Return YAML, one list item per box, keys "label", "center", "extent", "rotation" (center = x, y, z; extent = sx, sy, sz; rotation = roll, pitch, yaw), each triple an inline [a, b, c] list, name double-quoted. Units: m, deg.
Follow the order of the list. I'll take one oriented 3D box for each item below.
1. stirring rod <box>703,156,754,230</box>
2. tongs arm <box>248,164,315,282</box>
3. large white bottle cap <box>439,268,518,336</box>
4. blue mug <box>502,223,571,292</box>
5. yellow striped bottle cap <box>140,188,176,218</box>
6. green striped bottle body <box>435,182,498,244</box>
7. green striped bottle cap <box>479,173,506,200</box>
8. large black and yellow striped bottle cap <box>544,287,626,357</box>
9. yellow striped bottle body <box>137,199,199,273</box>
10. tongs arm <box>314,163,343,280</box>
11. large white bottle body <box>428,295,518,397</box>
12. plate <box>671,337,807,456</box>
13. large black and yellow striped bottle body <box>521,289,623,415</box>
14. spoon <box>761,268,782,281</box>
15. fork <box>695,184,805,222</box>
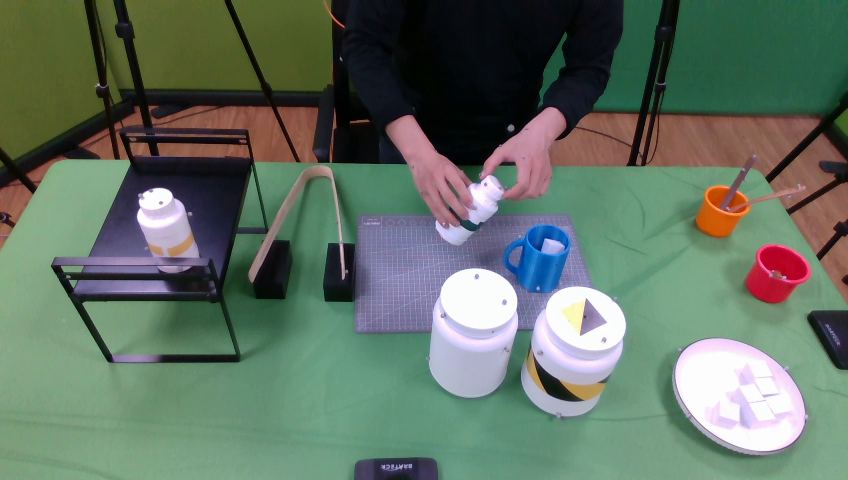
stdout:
- label: "stirring rod"
  center: [0.631, -0.097, 1.258]
  extent: [0.014, 0.006, 0.176]
  rotation: [33, 95, 29]
- label: "tongs arm"
  center: [-0.269, -0.047, 1.166]
  extent: [0.028, 0.028, 0.385]
  rotation: [-1, 34, 7]
- label: "large white bottle cap"
  center: [0.080, 0.089, 0.888]
  extent: [0.115, 0.018, 0.114]
  rotation: [2, 47, -2]
- label: "blue mug"
  center: [0.202, 0.031, 1.121]
  extent: [0.116, 0.106, 0.082]
  rotation: [5, 46, 1]
- label: "yellow striped bottle cap"
  center: [-0.363, -0.051, 0.826]
  extent: [0.044, 0.019, 0.044]
  rotation: [0, 47, 0]
- label: "green striped bottle body"
  center: [0.077, -0.052, 1.018]
  extent: [0.063, 0.119, 0.063]
  rotation: [30, 34, -23]
- label: "green striped bottle cap"
  center: [0.111, -0.088, 0.990]
  extent: [0.044, 0.020, 0.044]
  rotation: [31, 31, -22]
- label: "large black and yellow striped bottle cap"
  center: [0.232, 0.116, 0.876]
  extent: [0.115, 0.019, 0.114]
  rotation: [2, 46, -1]
- label: "yellow striped bottle body"
  center: [-0.366, -0.014, 0.864]
  extent: [0.063, 0.121, 0.062]
  rotation: [2, 46, -2]
- label: "tongs arm"
  center: [-0.188, -0.049, 1.170]
  extent: [0.051, 0.026, 0.382]
  rotation: [-6, 35, -6]
- label: "large white bottle body"
  center: [0.075, 0.147, 0.950]
  extent: [0.131, 0.185, 0.130]
  rotation: [2, 47, -2]
- label: "plate"
  center: [0.503, 0.254, 0.984]
  extent: [0.208, 0.039, 0.206]
  rotation: [2, 46, -2]
- label: "large black and yellow striped bottle body"
  center: [0.228, 0.173, 0.937]
  extent: [0.131, 0.185, 0.130]
  rotation: [2, 47, -2]
- label: "spoon"
  center: [0.638, 0.060, 1.105]
  extent: [0.041, 0.021, 0.194]
  rotation: [38, 11, 24]
- label: "fork"
  center: [0.657, -0.075, 1.230]
  extent: [0.207, 0.019, 0.028]
  rotation: [-23, 34, 37]
